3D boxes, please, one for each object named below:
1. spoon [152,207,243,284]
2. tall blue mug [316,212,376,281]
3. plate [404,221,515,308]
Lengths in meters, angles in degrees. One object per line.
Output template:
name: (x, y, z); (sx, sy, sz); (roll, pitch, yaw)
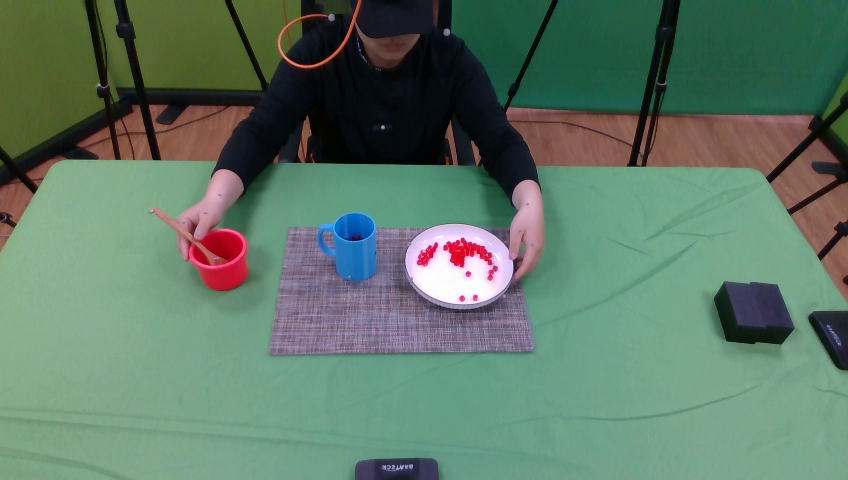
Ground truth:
spoon: (-0.401, 0.008, 1.075); (0.194, 0.021, 0.041); (48, 49, -20)
tall blue mug: (-0.142, 0.014, 1.109); (0.107, 0.108, 0.077); (-5, 47, -8)
plate: (0.065, 0.049, 1.140); (0.208, 0.039, 0.206); (2, 46, -2)
